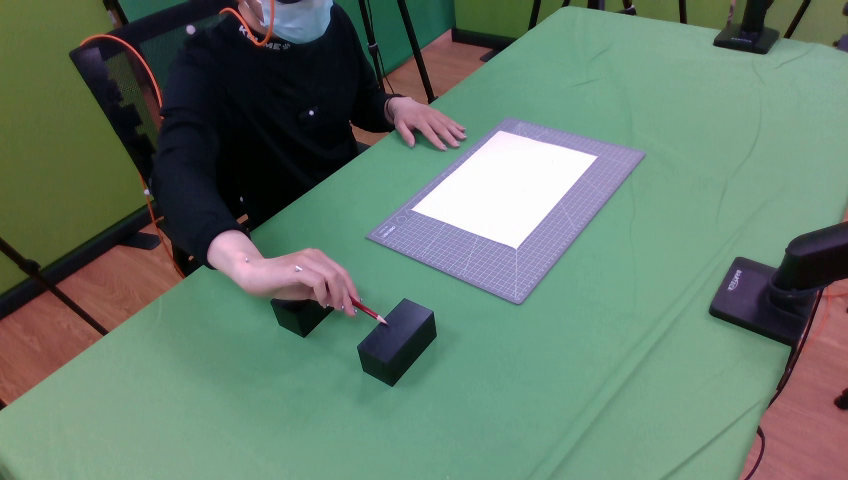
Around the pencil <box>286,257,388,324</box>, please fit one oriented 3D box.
[{"bbox_3d":[-0.122,0.069,0.830,0.192,0.012,0.012,28,51,27],"label":"pencil"}]
